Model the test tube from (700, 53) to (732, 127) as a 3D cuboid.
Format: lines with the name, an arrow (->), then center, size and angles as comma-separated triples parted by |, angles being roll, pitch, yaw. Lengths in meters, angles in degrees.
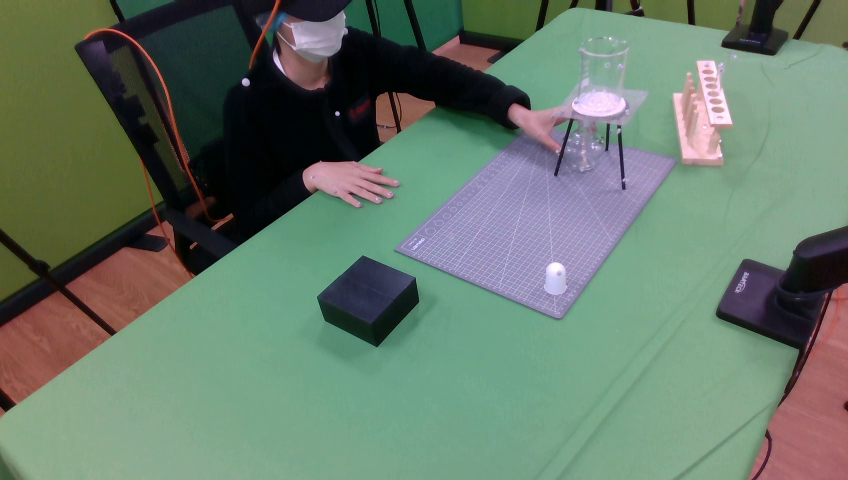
test tube -> 0.521, -0.265, 1.081 | 0.017, 0.151, 0.017 | -3, 47, 3

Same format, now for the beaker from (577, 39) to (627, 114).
beaker -> 0.286, -0.264, 0.976 | 0.073, 0.101, 0.084 | 25, 49, 33

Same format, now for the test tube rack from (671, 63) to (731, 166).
test tube rack -> 0.513, -0.241, 1.132 | 0.066, 0.085, 0.242 | 4, 41, 14

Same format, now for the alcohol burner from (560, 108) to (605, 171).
alcohol burner -> 0.283, -0.183, 1.073 | 0.078, 0.119, 0.077 | -4, 41, 4

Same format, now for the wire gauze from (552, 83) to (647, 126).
wire gauze -> 0.293, -0.224, 1.004 | 0.120, 0.011, 0.125 | 19, 43, 26

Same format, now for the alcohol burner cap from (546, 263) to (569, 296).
alcohol burner cap -> 0.191, 0.053, 0.862 | 0.034, 0.048, 0.033 | -5, 40, 4

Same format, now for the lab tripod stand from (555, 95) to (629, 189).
lab tripod stand -> 0.300, -0.174, 1.045 | 0.148, 0.132, 0.147 | -5, 38, 5
